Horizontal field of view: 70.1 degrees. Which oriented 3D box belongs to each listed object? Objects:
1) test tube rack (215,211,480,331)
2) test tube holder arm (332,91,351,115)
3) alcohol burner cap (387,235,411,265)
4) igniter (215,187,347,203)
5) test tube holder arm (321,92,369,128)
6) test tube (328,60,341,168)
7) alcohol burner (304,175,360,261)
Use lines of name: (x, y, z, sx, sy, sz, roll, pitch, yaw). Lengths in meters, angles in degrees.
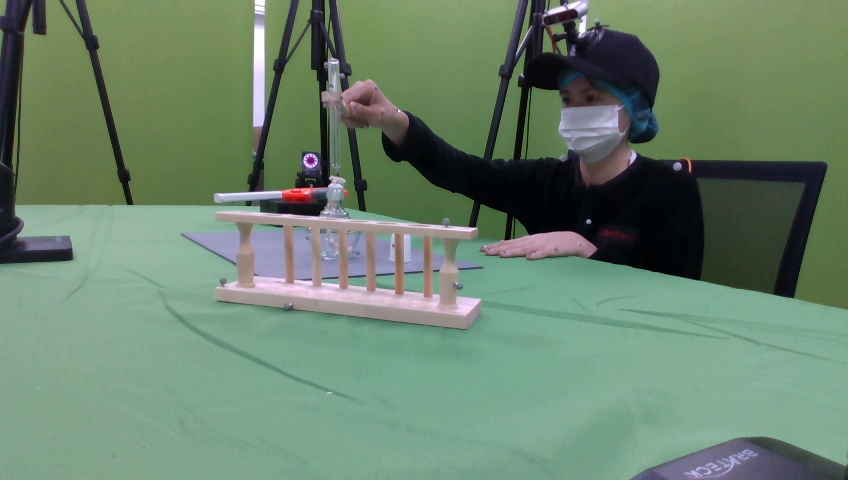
test tube rack: (-0.071, 0.023, 0.565, 0.242, 0.085, 0.067, 5, 7, 16)
test tube holder arm: (-0.116, -0.193, 0.856, 0.010, 0.015, 0.088, -1, -1, 4)
alcohol burner cap: (-0.035, 0.009, 0.839, 0.034, 0.048, 0.034, 2, 6, 0)
igniter: (-0.293, -0.095, 1.267, 0.278, 0.025, 0.057, -6, 12, -33)
test tube holder arm: (-0.114, -0.192, 0.901, 0.013, 0.015, 0.179, -1, -1, 12)
test tube: (-0.124, -0.173, 0.833, 0.017, 0.150, 0.017, -1, -2, 0)
alcohol burner: (-0.126, -0.031, 0.838, 0.078, 0.119, 0.078, 3, 5, 0)
